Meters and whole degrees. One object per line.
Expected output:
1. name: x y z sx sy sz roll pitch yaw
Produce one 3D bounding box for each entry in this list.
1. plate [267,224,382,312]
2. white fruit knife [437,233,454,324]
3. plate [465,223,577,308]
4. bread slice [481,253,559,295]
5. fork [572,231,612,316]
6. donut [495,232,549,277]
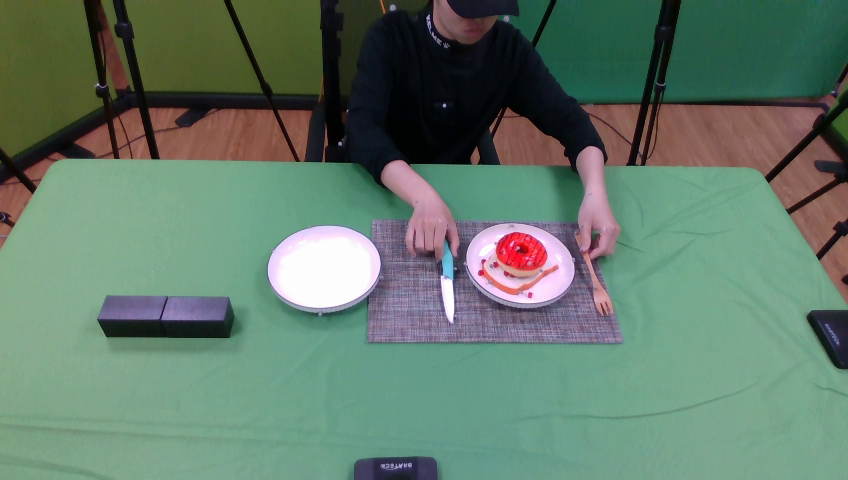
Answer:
1. plate: -0.182 0.055 1.120 0.208 0.039 0.206 2 46 -2
2. white fruit knife: 0.043 0.069 1.126 0.027 0.016 0.206 4 51 -9
3. plate: 0.180 0.051 1.144 0.209 0.038 0.208 2 45 -2
4. bread slice: 0.177 0.049 1.148 0.131 0.019 0.104 -32 55 -30
5. fork: 0.315 0.060 1.151 0.028 0.019 0.206 4 50 -16
6. donut: 0.180 0.026 1.119 0.099 0.048 0.098 2 46 -2
